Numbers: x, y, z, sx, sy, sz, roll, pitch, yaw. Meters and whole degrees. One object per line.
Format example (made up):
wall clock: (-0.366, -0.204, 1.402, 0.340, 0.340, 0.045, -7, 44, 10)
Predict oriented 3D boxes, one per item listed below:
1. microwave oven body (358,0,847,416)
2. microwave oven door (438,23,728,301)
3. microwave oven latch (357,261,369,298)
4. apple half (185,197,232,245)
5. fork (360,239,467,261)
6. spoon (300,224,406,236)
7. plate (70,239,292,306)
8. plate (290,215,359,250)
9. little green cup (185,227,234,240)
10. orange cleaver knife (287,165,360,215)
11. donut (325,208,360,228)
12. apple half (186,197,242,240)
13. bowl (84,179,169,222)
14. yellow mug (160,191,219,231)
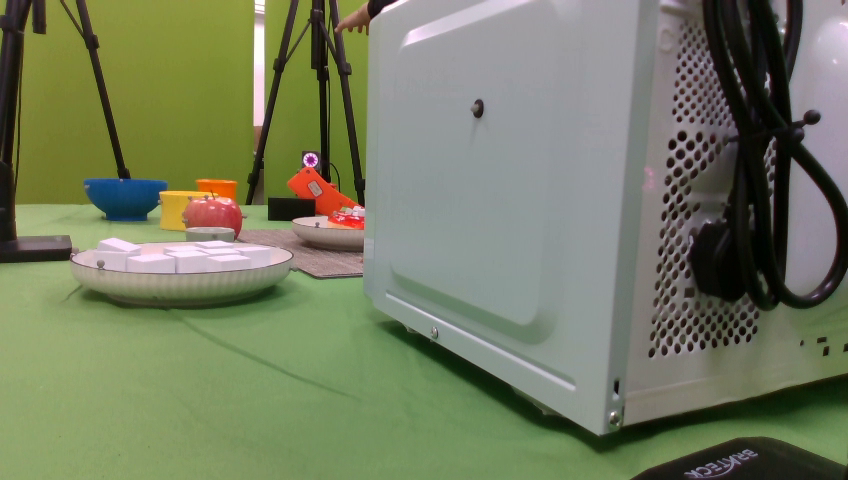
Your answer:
microwave oven body: (0.211, -0.047, 0.474, 0.444, 0.260, 0.324, -1, 7, -28)
microwave oven door: (0.181, -0.072, 0.621, 0.358, 0.243, 0.039, -2, 8, -29)
microwave oven latch: (-0.019, 0.033, 0.530, 0.079, 0.029, 0.030, -1, 7, -27)
apple half: (-0.337, -0.031, 0.928, 0.032, 0.081, 0.082, 13, 13, 37)
fork: (-0.008, 0.014, 0.871, 0.028, 0.018, 0.208, -6, -1, 45)
spoon: (-0.127, -0.018, 1.104, 0.194, 0.021, 0.041, 0, 7, -16)
plate: (-0.242, 0.031, 0.618, 0.208, 0.039, 0.207, 3, 8, 0)
plate: (-0.110, -0.013, 0.973, 0.209, 0.038, 0.209, 3, 8, 0)
little green cup: (-0.285, 0.005, 0.805, 0.061, 0.038, 0.061, 2, 8, 0)
orange cleaver knife: (-0.211, -0.092, 1.382, 0.212, 0.077, 0.012, 33, 1, -15)
donut: (-0.110, -0.025, 0.974, 0.099, 0.048, 0.099, 5, 7, 0)
apple half: (-0.306, -0.026, 0.904, 0.053, 0.074, 0.081, 14, 9, 37)
bowl: (-0.584, -0.078, 1.194, 0.151, 0.077, 0.151, 3, 8, 0)
yellow mug: (-0.416, -0.053, 1.103, 0.130, 0.064, 0.100, 7, 8, 26)
